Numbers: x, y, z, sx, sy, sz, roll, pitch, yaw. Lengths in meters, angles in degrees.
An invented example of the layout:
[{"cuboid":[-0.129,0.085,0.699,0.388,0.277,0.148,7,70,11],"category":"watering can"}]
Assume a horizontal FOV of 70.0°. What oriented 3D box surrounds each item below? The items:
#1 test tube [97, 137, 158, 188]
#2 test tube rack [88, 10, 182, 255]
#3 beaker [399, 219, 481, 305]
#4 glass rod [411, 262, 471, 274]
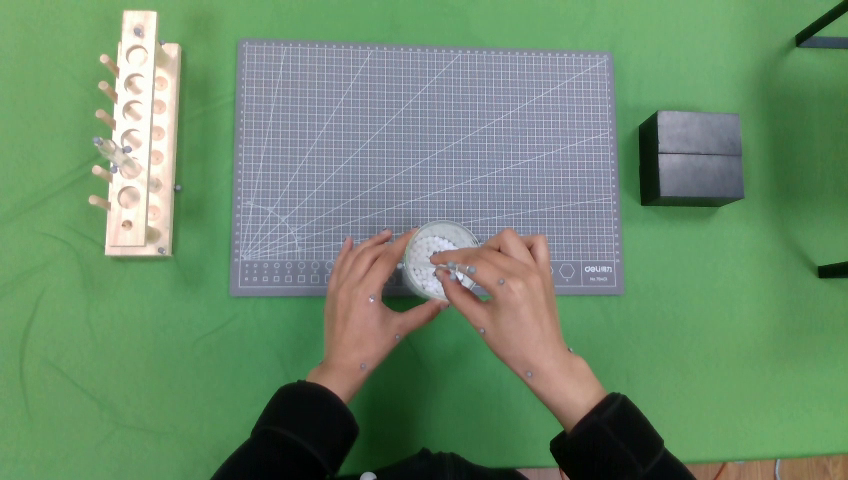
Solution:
[{"cuboid":[-0.284,-0.071,0.588,0.017,0.150,0.017,1,83,-11],"category":"test tube"},{"cuboid":[-0.309,-0.109,0.641,0.067,0.085,0.241,0,82,-5],"category":"test tube rack"},{"cuboid":[0.013,0.027,0.607,0.074,0.100,0.084,-24,86,-8],"category":"beaker"},{"cuboid":[0.010,0.024,0.541,0.008,0.199,0.008,0,89,-13],"category":"glass rod"}]
